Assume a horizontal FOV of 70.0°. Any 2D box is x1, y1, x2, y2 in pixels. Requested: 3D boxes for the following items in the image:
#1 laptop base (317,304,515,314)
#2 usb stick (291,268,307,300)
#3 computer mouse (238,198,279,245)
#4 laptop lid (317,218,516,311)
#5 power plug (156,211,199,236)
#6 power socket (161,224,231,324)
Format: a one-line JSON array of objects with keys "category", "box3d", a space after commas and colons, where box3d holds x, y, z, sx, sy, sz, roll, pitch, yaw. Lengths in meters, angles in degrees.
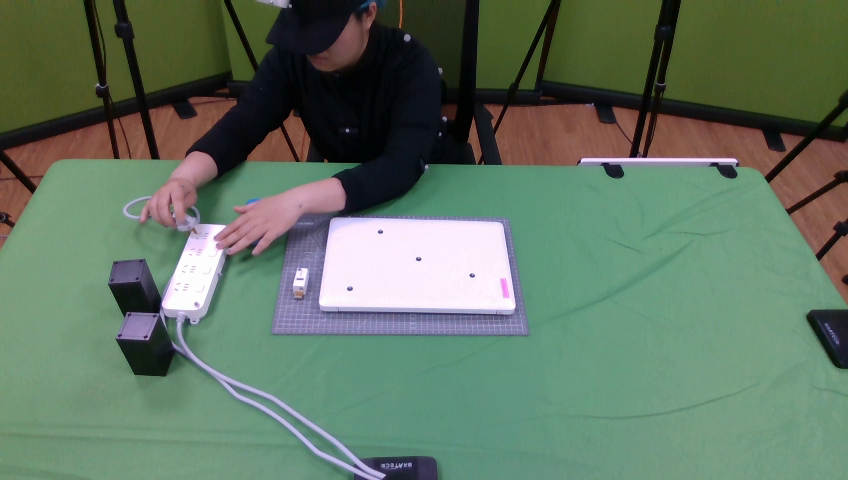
[{"category": "laptop base", "box3d": [-0.014, 0.050, 1.150, 0.354, 0.023, 0.234, 1, 42, -3]}, {"category": "usb stick", "box3d": [-0.227, 0.081, 1.094, 0.021, 0.027, 0.059, 4, 48, -2]}, {"category": "computer mouse", "box3d": [-0.327, -0.040, 1.201, 0.063, 0.041, 0.116, 6, 50, -3]}, {"category": "laptop lid", "box3d": [-0.013, 0.040, 1.143, 0.357, 0.013, 0.240, 3, 43, -2]}, {"category": "power plug", "box3d": [-0.452, -0.031, 1.127, 0.072, 0.053, 0.035, 4, 40, 32]}, {"category": "power socket", "box3d": [-0.412, 0.052, 1.106, 0.072, 0.033, 0.225, 4, 46, -2]}]
